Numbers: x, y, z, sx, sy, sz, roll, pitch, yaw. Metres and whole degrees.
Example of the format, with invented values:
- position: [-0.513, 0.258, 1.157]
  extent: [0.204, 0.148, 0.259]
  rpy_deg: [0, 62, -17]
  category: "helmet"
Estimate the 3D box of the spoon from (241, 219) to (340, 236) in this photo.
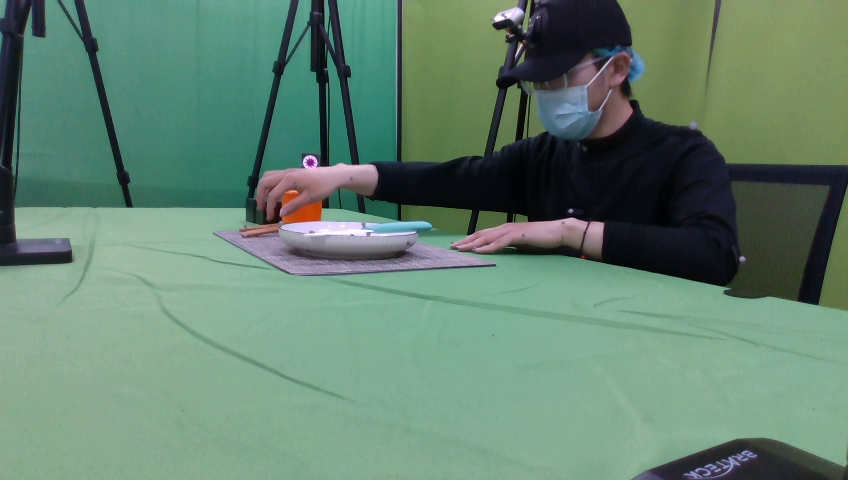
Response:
- position: [-0.231, -0.022, 1.081]
  extent: [0.195, 0.021, 0.041]
  rpy_deg: [-4, 25, -36]
  category: "spoon"

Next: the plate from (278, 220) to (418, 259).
- position: [-0.114, -0.002, 0.914]
  extent: [0.209, 0.038, 0.209]
  rpy_deg: [2, 8, 0]
  category: "plate"

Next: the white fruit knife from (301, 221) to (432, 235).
- position: [-0.079, -0.015, 0.858]
  extent: [0.208, 0.016, 0.027]
  rpy_deg: [-4, 14, -38]
  category: "white fruit knife"

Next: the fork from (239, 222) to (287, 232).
- position: [-0.240, -0.025, 1.125]
  extent: [0.208, 0.018, 0.028]
  rpy_deg: [-1, 13, -35]
  category: "fork"
